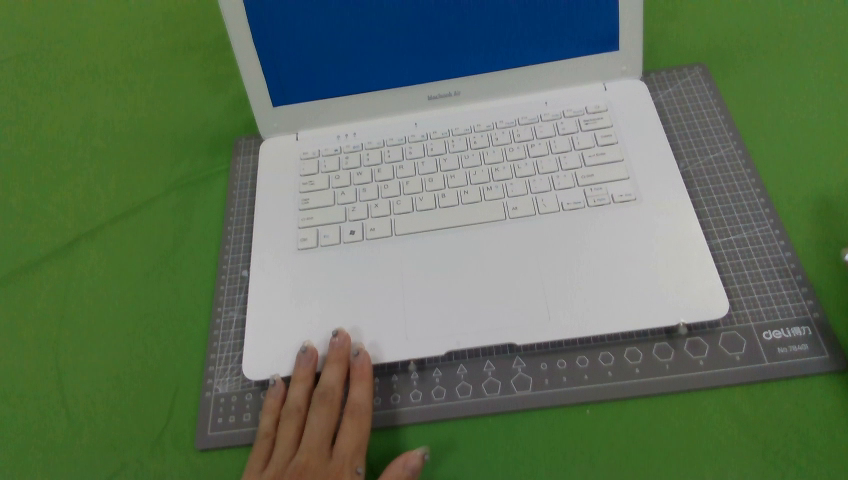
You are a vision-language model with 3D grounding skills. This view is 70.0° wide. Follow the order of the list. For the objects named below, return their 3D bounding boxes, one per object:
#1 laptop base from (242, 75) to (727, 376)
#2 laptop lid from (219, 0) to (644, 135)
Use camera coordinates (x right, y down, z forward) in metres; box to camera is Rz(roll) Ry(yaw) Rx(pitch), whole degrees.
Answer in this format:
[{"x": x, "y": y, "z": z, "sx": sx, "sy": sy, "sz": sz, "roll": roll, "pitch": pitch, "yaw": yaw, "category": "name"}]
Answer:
[{"x": 0.031, "y": -0.020, "z": 0.496, "sx": 0.354, "sy": 0.023, "sz": 0.233, "roll": -8, "pitch": 61, "yaw": 4, "category": "laptop base"}, {"x": 0.004, "y": -0.218, "z": 0.500, "sx": 0.356, "sy": 0.244, "sz": 0.013, "roll": -9, "pitch": 30, "yaw": 4, "category": "laptop lid"}]
